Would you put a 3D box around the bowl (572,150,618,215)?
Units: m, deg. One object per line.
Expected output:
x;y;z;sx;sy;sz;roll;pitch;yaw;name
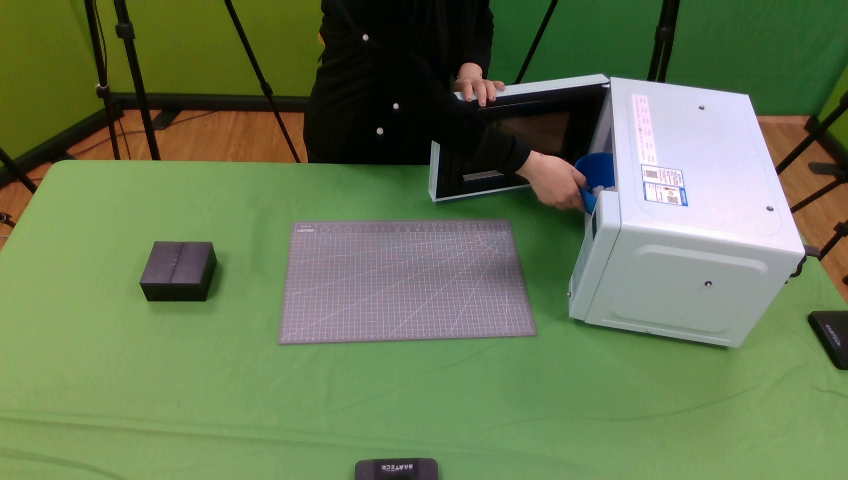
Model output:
0.350;-0.094;1.161;0.151;0.077;0.150;4;49;-4;bowl

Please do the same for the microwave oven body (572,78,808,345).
0.455;-0.063;1.125;0.326;0.261;0.439;8;45;5;microwave oven body

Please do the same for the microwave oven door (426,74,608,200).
0.185;-0.209;1.238;0.356;0.245;0.039;-10;48;-14;microwave oven door

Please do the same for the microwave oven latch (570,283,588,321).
0.276;0.105;1.082;0.030;0.029;0.079;10;45;7;microwave oven latch
